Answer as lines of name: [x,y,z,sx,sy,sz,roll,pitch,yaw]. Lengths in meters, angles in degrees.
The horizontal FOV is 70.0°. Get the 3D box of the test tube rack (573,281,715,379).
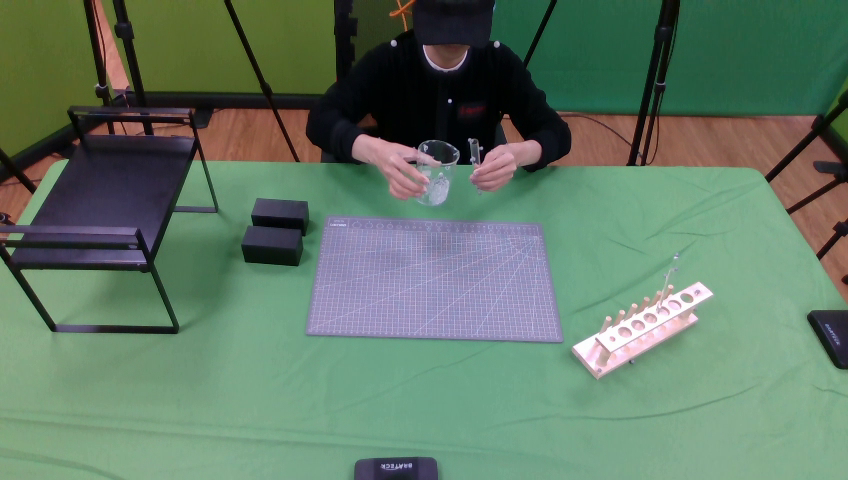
test tube rack: [0.378,0.140,1.038,0.242,0.085,0.066,-22,51,-22]

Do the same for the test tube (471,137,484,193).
test tube: [0.102,-0.137,1.137,0.017,0.151,0.017,-4,56,7]

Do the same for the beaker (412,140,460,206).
beaker: [0.020,-0.119,1.090,0.084,0.101,0.073,-15,50,-26]

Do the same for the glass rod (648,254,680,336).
glass rod: [0.390,0.094,0.991,0.008,0.201,0.008,-1,44,2]
